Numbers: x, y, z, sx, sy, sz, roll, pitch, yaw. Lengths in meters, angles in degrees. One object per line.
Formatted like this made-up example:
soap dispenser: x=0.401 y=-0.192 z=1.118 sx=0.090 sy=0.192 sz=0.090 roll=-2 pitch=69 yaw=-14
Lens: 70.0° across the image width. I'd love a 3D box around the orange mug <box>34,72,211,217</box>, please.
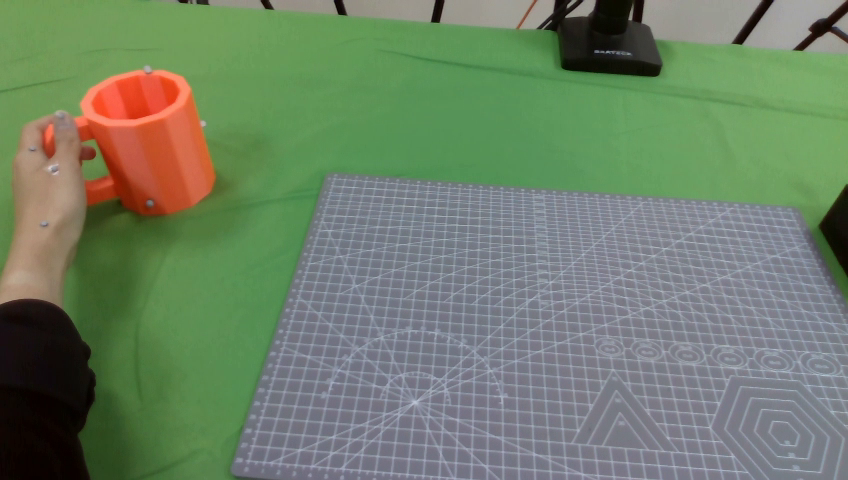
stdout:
orange mug: x=-0.257 y=-0.078 z=0.524 sx=0.126 sy=0.101 sz=0.082 roll=-21 pitch=50 yaw=-27
